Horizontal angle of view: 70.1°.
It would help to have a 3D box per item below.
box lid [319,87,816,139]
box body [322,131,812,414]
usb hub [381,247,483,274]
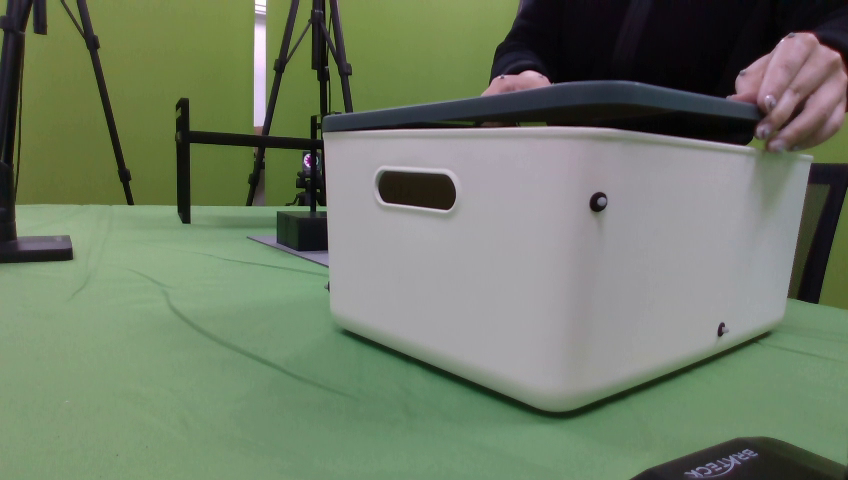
[{"bbox_3d":[0.130,-0.093,0.502,0.373,0.015,0.262,-7,9,-43],"label":"box lid"},{"bbox_3d":[0.124,-0.001,0.510,0.366,0.160,0.253,-4,10,-41],"label":"box body"},{"bbox_3d":[0.011,0.026,0.775,0.126,0.025,0.049,-1,8,-27],"label":"usb hub"}]
